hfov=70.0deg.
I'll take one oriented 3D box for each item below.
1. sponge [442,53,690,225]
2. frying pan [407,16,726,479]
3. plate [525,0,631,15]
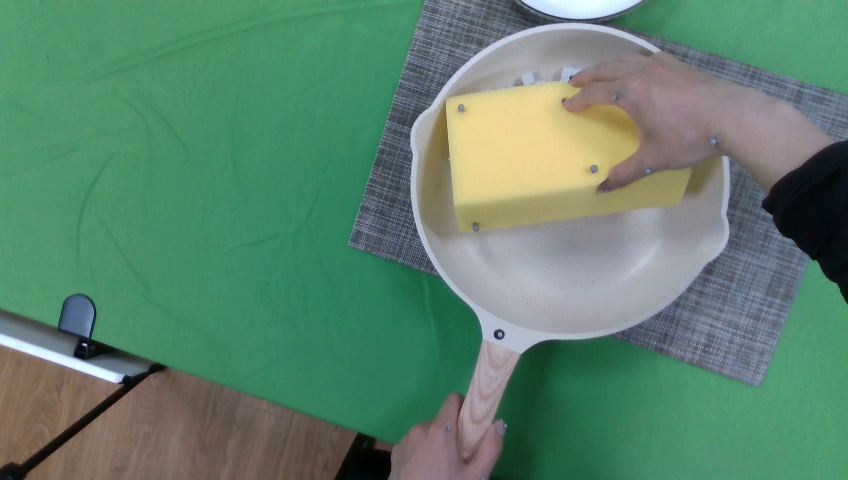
[{"bbox_3d":[0.125,-0.093,0.569,0.207,0.061,0.117,-9,67,7],"label":"sponge"},{"bbox_3d":[0.094,0.036,0.585,0.306,0.103,0.487,22,87,5],"label":"frying pan"},{"bbox_3d":[0.155,-0.324,0.595,0.207,0.039,0.207,0,94,6],"label":"plate"}]
